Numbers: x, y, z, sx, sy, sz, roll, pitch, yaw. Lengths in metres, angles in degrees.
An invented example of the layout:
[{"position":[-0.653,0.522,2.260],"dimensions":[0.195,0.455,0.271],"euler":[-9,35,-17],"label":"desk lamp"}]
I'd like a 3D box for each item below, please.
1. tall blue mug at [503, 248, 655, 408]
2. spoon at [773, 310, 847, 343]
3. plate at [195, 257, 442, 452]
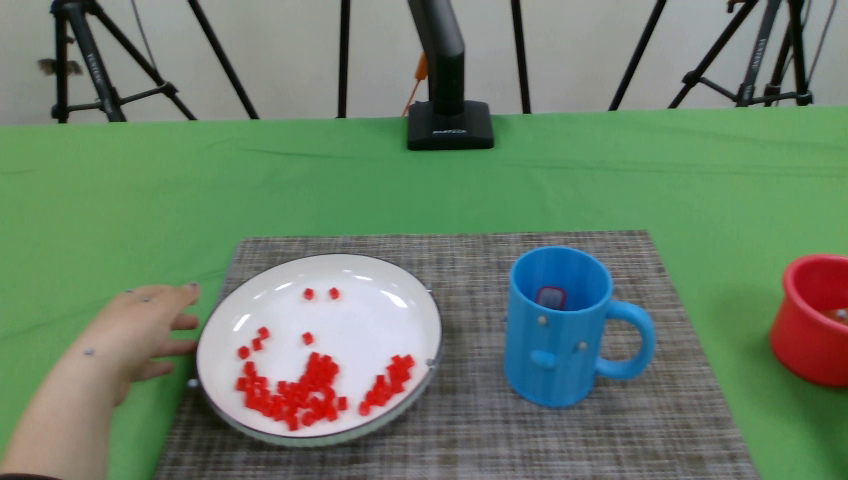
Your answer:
[{"position":[0.120,0.071,0.489],"dimensions":[0.107,0.109,0.077],"euler":[-5,38,-4],"label":"tall blue mug"},{"position":[0.377,0.050,0.477],"dimensions":[0.021,0.193,0.041],"euler":[53,46,-4],"label":"spoon"},{"position":[-0.087,0.095,0.525],"dimensions":[0.208,0.039,0.205],"euler":[-1,39,1],"label":"plate"}]
